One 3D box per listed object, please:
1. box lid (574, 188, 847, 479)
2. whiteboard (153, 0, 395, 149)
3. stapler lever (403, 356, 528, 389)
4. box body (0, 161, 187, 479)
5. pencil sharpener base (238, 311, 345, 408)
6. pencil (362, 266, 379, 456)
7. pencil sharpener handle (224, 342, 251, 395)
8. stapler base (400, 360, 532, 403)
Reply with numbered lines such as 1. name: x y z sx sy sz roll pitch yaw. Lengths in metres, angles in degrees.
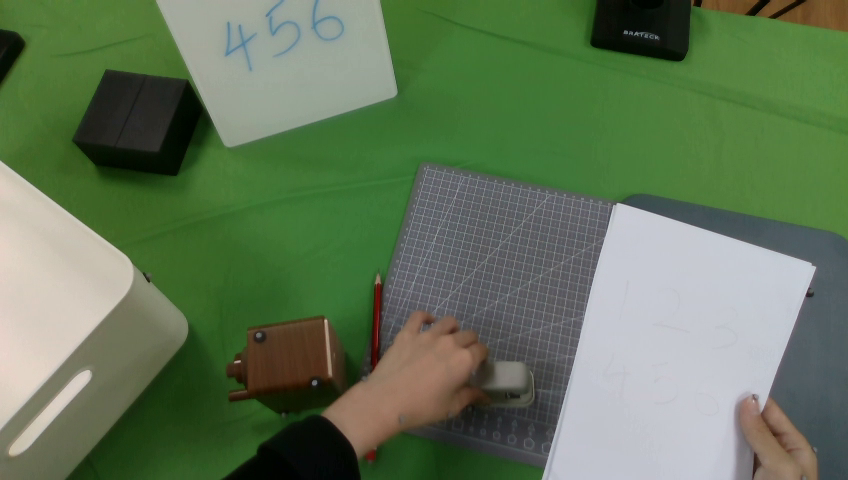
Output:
1. box lid: 0.299 0.126 0.603 0.263 0.015 0.369 12 67 5
2. whiteboard: -0.177 -0.291 0.661 0.217 0.308 0.142 -19 48 -7
3. stapler lever: 0.038 0.125 0.567 0.118 0.040 0.026 0 63 3
4. box body: -0.440 0.056 0.554 0.362 0.161 0.253 32 70 13
5. pencil sharpener base: -0.119 0.114 0.558 0.077 0.108 0.061 -8 66 -3
6. pencil: -0.052 0.115 0.608 0.012 0.012 0.192 0 66 1
7. pencil sharpener handle: -0.169 0.120 0.541 0.031 0.068 0.035 -8 49 -3
8. stapler base: 0.041 0.136 0.591 0.130 0.024 0.041 1 63 2
